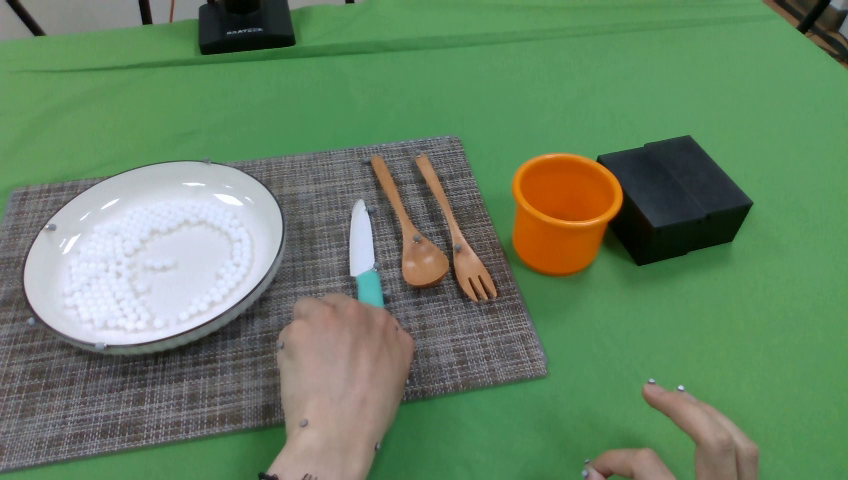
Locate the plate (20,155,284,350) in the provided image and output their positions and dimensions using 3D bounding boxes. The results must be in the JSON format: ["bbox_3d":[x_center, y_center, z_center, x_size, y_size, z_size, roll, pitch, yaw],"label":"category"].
[{"bbox_3d":[-0.222,0.008,0.517,0.209,0.038,0.207,1,48,0],"label":"plate"}]

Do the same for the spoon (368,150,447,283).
[{"bbox_3d":[-0.023,-0.030,0.565,0.041,0.022,0.191,-25,51,1],"label":"spoon"}]

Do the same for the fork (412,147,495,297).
[{"bbox_3d":[0.021,-0.024,0.564,0.028,0.019,0.205,-16,52,-7],"label":"fork"}]

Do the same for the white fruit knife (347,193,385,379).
[{"bbox_3d":[-0.052,0.027,0.519,0.027,0.016,0.205,-3,47,-7],"label":"white fruit knife"}]
